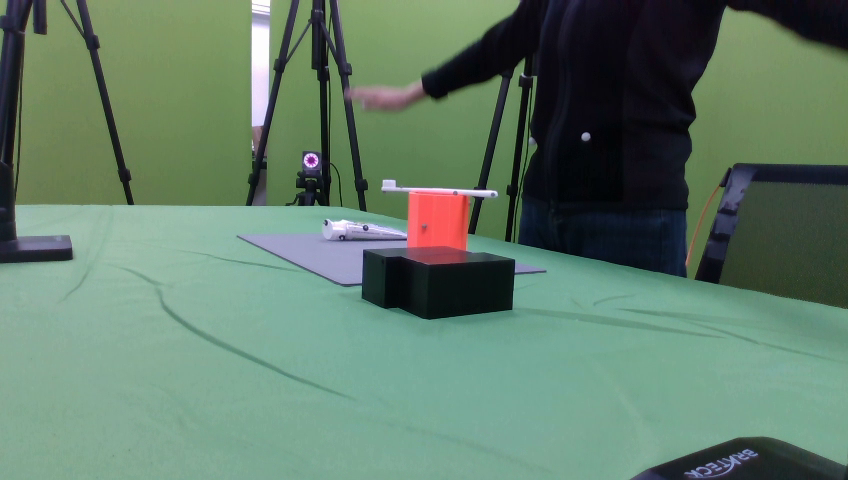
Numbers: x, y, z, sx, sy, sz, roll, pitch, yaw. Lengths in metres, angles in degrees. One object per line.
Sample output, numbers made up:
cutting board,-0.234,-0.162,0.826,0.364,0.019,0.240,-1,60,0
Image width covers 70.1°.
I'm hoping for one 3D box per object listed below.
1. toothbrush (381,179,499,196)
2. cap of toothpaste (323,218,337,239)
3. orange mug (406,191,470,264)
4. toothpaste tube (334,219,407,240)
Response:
toothbrush,0.019,-0.073,0.841,0.181,0.016,0.014,6,3,27
cap of toothpaste,-0.157,-0.020,1.013,0.011,0.037,0.037,-8,12,-40
orange mug,0.027,-0.023,0.866,0.083,0.101,0.126,5,12,24
toothpaste tube,-0.084,-0.015,1.051,0.166,0.034,0.055,3,14,-29
